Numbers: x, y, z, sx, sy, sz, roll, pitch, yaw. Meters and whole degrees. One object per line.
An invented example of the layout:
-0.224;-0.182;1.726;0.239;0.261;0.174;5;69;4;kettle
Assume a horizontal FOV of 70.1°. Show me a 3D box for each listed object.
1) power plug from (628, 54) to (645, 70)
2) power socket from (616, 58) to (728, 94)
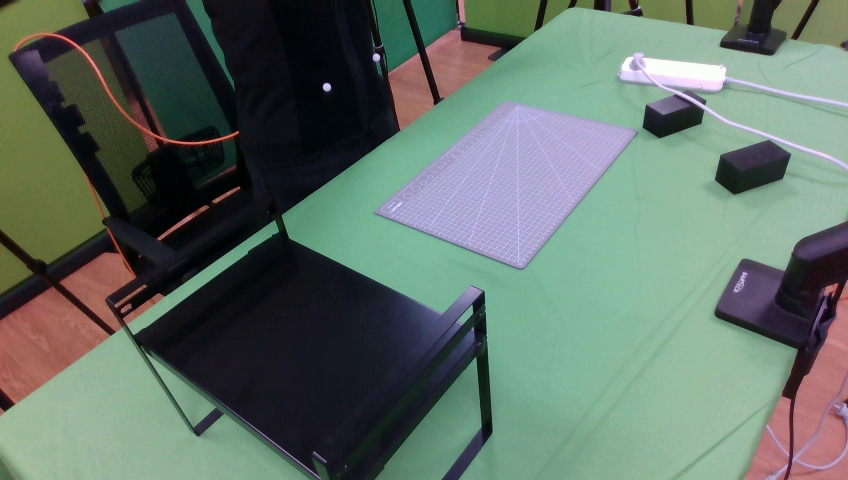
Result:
0.451;-0.370;1.300;0.035;0.053;0.073;22;48;31;power plug
0.531;-0.355;1.303;0.225;0.033;0.072;15;46;23;power socket
